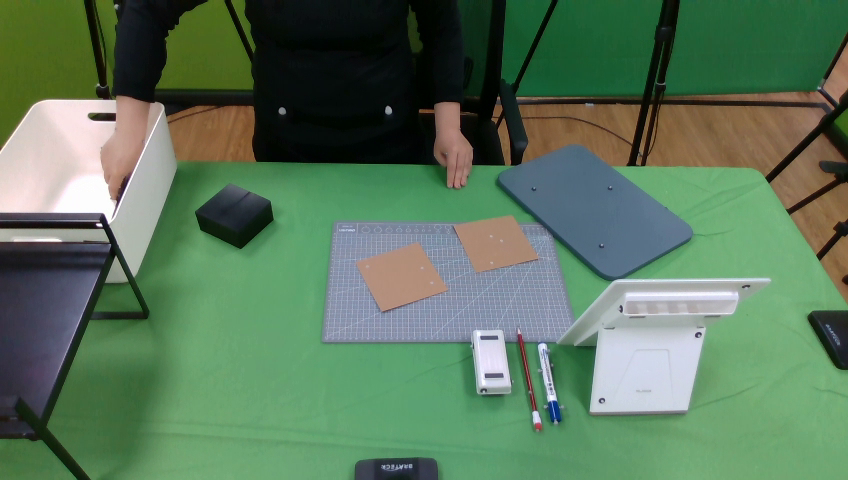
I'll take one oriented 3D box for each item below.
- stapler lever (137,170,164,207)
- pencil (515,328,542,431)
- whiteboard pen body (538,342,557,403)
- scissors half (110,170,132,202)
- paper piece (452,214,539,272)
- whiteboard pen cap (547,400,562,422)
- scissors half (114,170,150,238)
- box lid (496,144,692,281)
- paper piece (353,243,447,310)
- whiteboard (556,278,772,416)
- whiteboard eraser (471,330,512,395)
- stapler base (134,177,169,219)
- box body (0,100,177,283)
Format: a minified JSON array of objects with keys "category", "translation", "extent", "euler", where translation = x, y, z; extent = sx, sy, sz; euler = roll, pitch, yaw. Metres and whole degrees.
[{"category":"stapler lever","translation":[-0.552,-0.112,1.223],"extent":[0.027,0.040,0.117],"euler":[7,38,-13]},{"category":"pencil","translation":[0.169,0.224,1.002],"extent":[0.012,0.012,0.192],"euler":[-1,46,-6]},{"category":"whiteboard pen body","translation":[0.205,0.228,0.997],"extent":[0.017,0.017,0.140],"euler":[1,46,-3]},{"category":"scissors half","translation":[-0.617,-0.075,1.228],"extent":[0.040,0.013,0.174],"euler":[-11,56,-7]},{"category":"paper piece","translation":[0.142,0.002,1.213],"extent":[0.135,0.004,0.135],"euler":[-11,47,-14]},{"category":"whiteboard pen cap","translation":[0.205,0.269,0.956],"extent":[0.018,0.018,0.033],"euler":[0,47,-5]},{"category":"scissors half","translation":[-0.597,-0.075,1.230],"extent":[0.040,0.013,0.174],"euler":[7,55,-1]},{"category":"box lid","translation":[0.360,-0.073,1.305],"extent":[0.263,0.015,0.369],"euler":[-24,52,-25]},{"category":"paper piece","translation":[-0.045,0.066,1.137],"extent":[0.136,0.009,0.137],"euler":[-13,46,-23]},{"category":"whiteboard","translation":[0.347,0.174,0.903],"extent":[0.217,0.306,0.143],"euler":[1,65,-4]},{"category":"whiteboard eraser","translation":[0.110,0.202,0.998],"extent":[0.055,0.042,0.112],"euler":[1,46,-5]},{"category":"stapler base","translation":[-0.556,-0.092,1.237],"extent":[0.041,0.024,0.129],"euler":[8,37,-13]},{"category":"box body","translation":[-0.639,-0.095,1.140],"extent":[0.254,0.161,0.361],"euler":[1,46,-5]}]
